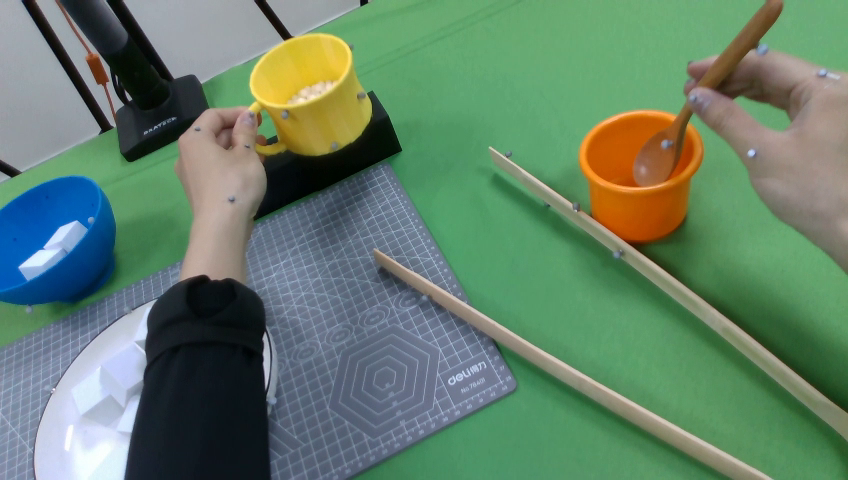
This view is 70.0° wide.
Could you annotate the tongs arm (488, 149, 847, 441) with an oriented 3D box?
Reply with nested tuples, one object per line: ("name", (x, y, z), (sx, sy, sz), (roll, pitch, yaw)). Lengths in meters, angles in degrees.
("tongs arm", (0.161, 0.035, 0.465), (0.051, 0.027, 0.380), (-38, 52, -13))

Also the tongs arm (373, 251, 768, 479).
("tongs arm", (0.102, 0.089, 0.445), (0.384, 0.028, 0.028), (27, 62, 33))

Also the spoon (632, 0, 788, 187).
("spoon", (0.181, -0.089, 0.405), (0.021, 0.195, 0.041), (-7, 69, -3))

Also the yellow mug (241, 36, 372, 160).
("yellow mug", (-0.119, -0.127, 0.578), (0.130, 0.064, 0.099), (-43, 56, -14))

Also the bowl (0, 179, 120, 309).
("bowl", (-0.376, 0.017, 0.631), (0.151, 0.077, 0.150), (-10, 50, 12))

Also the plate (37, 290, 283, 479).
("plate", (-0.210, 0.137, 0.501), (0.207, 0.039, 0.205), (-9, 50, 11))
